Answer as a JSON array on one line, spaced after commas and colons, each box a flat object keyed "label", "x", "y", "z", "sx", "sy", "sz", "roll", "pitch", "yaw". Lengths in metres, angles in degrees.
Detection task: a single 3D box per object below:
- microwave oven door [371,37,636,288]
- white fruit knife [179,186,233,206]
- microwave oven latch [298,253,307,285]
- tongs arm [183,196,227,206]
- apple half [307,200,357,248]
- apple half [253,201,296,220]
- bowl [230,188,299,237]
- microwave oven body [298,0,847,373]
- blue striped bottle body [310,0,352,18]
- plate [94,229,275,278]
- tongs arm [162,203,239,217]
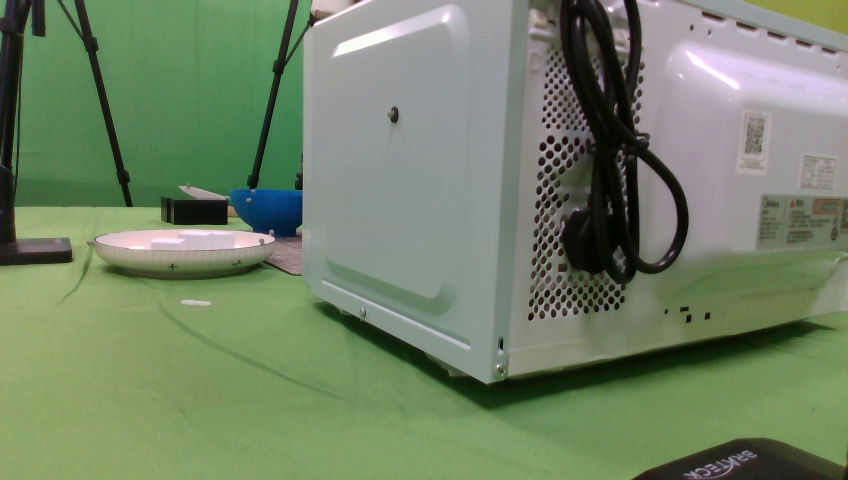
[{"label": "microwave oven door", "x": 0.109, "y": -0.080, "z": 0.687, "sx": 0.358, "sy": 0.243, "sz": 0.039, "roll": -2, "pitch": 9, "yaw": -33}, {"label": "white fruit knife", "x": -0.413, "y": -0.081, "z": 1.270, "sx": 0.208, "sy": 0.027, "sz": 0.016, "roll": 18, "pitch": 14, "yaw": -41}, {"label": "microwave oven latch", "x": -0.081, "y": 0.027, "z": 0.582, "sx": 0.079, "sy": 0.029, "sz": 0.030, "roll": -2, "pitch": 8, "yaw": -33}, {"label": "tongs arm", "x": -0.404, "y": -0.081, "z": 1.479, "sx": 0.385, "sy": 0.026, "sz": 0.050, "roll": 4, "pitch": 8, "yaw": -2}, {"label": "apple half", "x": -0.135, "y": -0.024, "z": 0.941, "sx": 0.053, "sy": 0.074, "sz": 0.081, "roll": 13, "pitch": 8, "yaw": 39}, {"label": "apple half", "x": -0.264, "y": -0.053, "z": 1.067, "sx": 0.081, "sy": 0.033, "sz": 0.081, "roll": 1, "pitch": 8, "yaw": 0}, {"label": "bowl", "x": -0.264, "y": -0.048, "z": 1.066, "sx": 0.151, "sy": 0.077, "sz": 0.151, "roll": 3, "pitch": 8, "yaw": 0}, {"label": "microwave oven body", "x": 0.151, "y": -0.055, "z": 0.542, "sx": 0.444, "sy": 0.260, "sz": 0.324, "roll": -2, "pitch": 8, "yaw": -33}, {"label": "blue striped bottle body", "x": -0.132, "y": -0.393, "z": 0.908, "sx": 0.063, "sy": 0.120, "sz": 0.063, "roll": 9, "pitch": 7, "yaw": -1}, {"label": "plate", "x": -0.291, "y": 0.016, "z": 0.750, "sx": 0.208, "sy": 0.039, "sz": 0.207, "roll": 2, "pitch": 7, "yaw": 0}, {"label": "tongs arm", "x": -0.396, "y": -0.066, "z": 1.399, "sx": 0.389, "sy": 0.028, "sz": 0.028, "roll": 1, "pitch": 5, "yaw": -15}]
